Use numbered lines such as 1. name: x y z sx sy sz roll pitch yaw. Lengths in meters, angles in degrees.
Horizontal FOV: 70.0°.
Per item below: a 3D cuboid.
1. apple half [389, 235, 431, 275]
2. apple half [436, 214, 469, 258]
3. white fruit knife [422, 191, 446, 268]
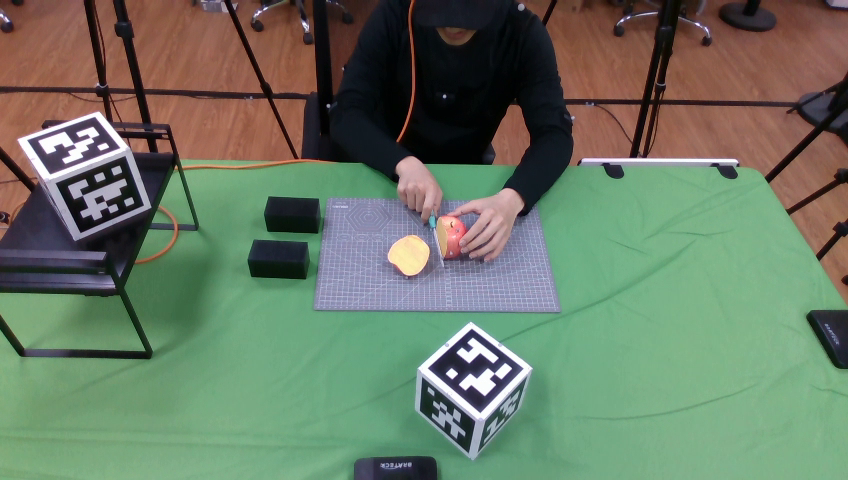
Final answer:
1. apple half: -0.023 0.032 1.145 0.081 0.033 0.081 -2 65 5
2. apple half: 0.058 -0.007 1.163 0.053 0.075 0.080 -6 43 -15
3. white fruit knife: 0.021 -0.026 1.210 0.016 0.027 0.206 -9 51 -7
